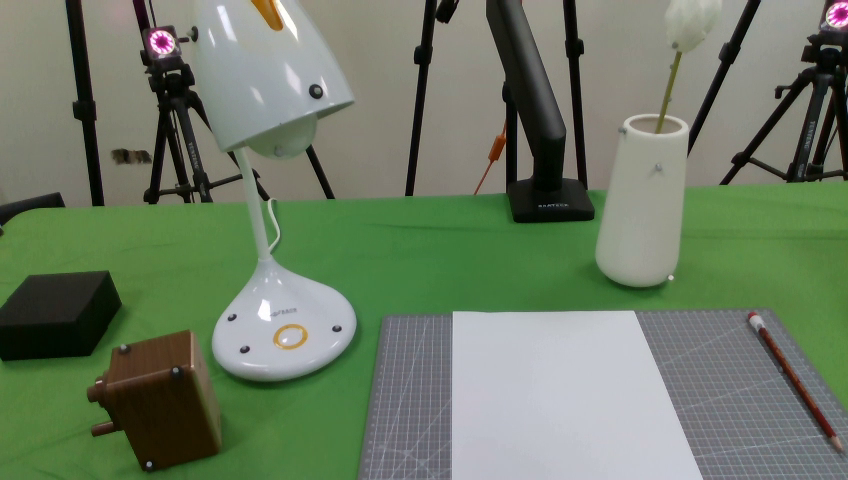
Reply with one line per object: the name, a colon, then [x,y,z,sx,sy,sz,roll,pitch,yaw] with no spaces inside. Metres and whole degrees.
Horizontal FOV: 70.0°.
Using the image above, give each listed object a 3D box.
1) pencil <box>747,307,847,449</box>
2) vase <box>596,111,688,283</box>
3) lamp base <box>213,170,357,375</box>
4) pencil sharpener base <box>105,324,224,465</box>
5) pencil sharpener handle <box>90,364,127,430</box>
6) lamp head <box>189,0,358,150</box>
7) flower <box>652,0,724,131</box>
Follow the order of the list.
pencil: [0.366,0.129,0.601,0.012,0.012,0.192,-2,32,2]
vase: [0.262,-0.048,0.724,0.098,0.201,0.097,-3,30,2]
lamp base: [-0.167,0.025,0.662,0.161,0.181,0.177,-19,33,-24]
pencil sharpener base: [-0.231,0.141,0.547,0.077,0.108,0.060,-13,33,-14]
pencil sharpener handle: [-0.281,0.141,0.528,0.031,0.068,0.035,-13,38,-14]
lamp head: [-0.125,-0.141,0.464,0.112,0.123,0.112,-24,7,4]
flower: [0.251,-0.107,0.664,0.043,0.365,0.038,36,62,28]
